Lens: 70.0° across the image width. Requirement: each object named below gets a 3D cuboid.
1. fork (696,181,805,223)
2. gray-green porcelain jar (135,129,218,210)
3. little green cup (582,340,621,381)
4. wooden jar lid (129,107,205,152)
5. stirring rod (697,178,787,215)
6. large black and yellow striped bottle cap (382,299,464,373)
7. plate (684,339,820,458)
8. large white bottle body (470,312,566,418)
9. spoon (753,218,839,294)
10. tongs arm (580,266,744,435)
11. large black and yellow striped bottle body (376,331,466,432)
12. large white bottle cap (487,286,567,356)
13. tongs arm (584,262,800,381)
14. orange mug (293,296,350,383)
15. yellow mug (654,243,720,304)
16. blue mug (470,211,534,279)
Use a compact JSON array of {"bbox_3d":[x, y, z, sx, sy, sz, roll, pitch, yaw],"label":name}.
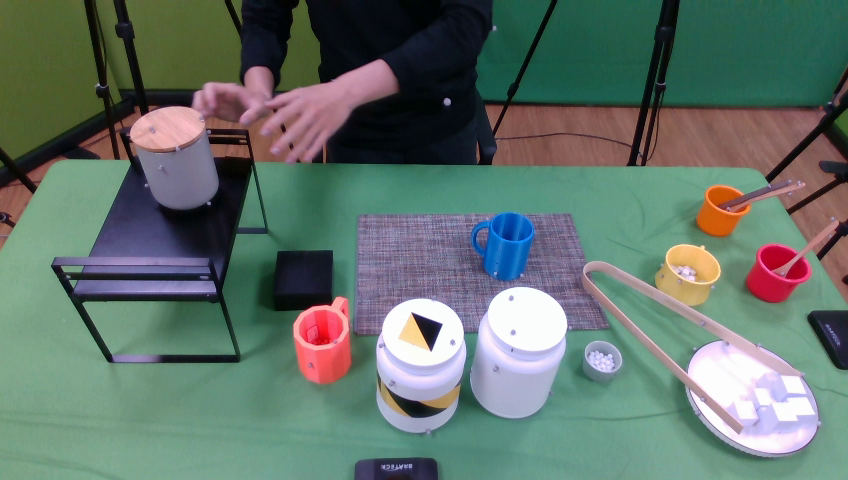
[{"bbox_3d":[0.659,-0.077,1.232,0.207,0.019,0.028,-26,35,34],"label":"fork"},{"bbox_3d":[-0.388,-0.120,0.960,0.106,0.127,0.105,2,46,-2],"label":"gray-green porcelain jar"},{"bbox_3d":[0.295,0.204,1.014,0.061,0.039,0.061,2,45,-2],"label":"little green cup"},{"bbox_3d":[-0.385,-0.163,0.915,0.108,0.021,0.107,2,47,-2],"label":"wooden jar lid"},{"bbox_3d":[0.650,-0.088,1.246,0.006,0.176,0.014,29,50,-39],"label":"stirring rod"},{"bbox_3d":[-0.002,0.132,0.843,0.115,0.019,0.114,2,46,-1],"label":"large black and yellow striped bottle cap"},{"bbox_3d":[0.523,0.256,0.983,0.208,0.039,0.206,2,46,-2],"label":"plate"},{"bbox_3d":[0.143,0.173,0.930,0.131,0.185,0.130,2,46,-2],"label":"large white bottle body"},{"bbox_3d":[0.700,0.031,1.138,0.194,0.022,0.041,-47,55,14],"label":"spoon"},{"bbox_3d":[0.384,0.174,1.029,0.028,0.028,0.385,-25,46,-14],"label":"tongs arm"},{"bbox_3d":[-0.007,0.189,0.905,0.131,0.185,0.130,2,46,-2],"label":"large black and yellow striped bottle body"},{"bbox_3d":[0.147,0.114,0.869,0.115,0.018,0.114,3,46,-3],"label":"large white bottle cap"},{"bbox_3d":[0.452,0.137,1.064,0.051,0.027,0.382,-34,50,-26],"label":"tongs arm"},{"bbox_3d":[-0.157,0.154,0.985,0.083,0.101,0.125,17,52,11],"label":"orange mug"},{"bbox_3d":[0.504,0.054,1.154,0.099,0.064,0.130,28,49,22],"label":"yellow mug"},{"bbox_3d":[0.141,0.005,1.140,0.116,0.106,0.082,18,48,13],"label":"blue mug"}]
